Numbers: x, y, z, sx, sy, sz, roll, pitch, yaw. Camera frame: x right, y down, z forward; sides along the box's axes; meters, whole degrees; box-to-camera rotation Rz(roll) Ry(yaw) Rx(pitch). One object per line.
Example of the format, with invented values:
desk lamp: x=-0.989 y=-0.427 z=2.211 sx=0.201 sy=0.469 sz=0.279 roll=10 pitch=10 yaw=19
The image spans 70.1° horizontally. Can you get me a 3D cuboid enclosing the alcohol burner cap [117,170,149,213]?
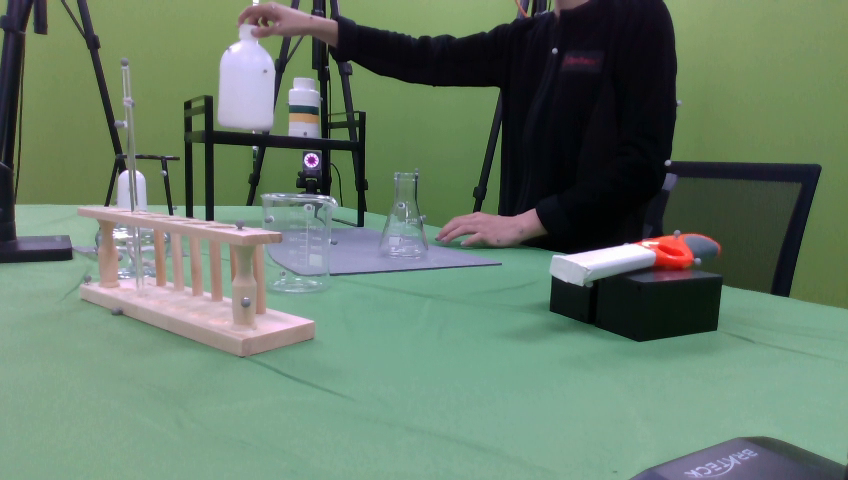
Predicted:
alcohol burner cap: x=-0.320 y=-0.052 z=0.661 sx=0.034 sy=0.048 sz=0.034 roll=-3 pitch=0 yaw=0

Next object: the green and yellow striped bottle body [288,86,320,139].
green and yellow striped bottle body: x=-0.250 y=-0.272 z=1.261 sx=0.063 sy=0.119 sz=0.063 roll=3 pitch=7 yaw=0

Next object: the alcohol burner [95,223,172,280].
alcohol burner: x=-0.320 y=-0.017 z=0.667 sx=0.078 sy=0.119 sz=0.078 roll=0 pitch=7 yaw=0

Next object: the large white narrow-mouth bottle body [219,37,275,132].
large white narrow-mouth bottle body: x=-0.338 y=-0.309 z=1.163 sx=0.102 sy=0.194 sz=0.101 roll=4 pitch=10 yaw=0

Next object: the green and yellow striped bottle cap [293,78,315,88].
green and yellow striped bottle cap: x=-0.248 y=-0.324 z=1.256 sx=0.045 sy=0.020 sz=0.045 roll=4 pitch=8 yaw=0

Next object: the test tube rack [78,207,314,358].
test tube rack: x=-0.197 y=0.023 z=0.500 sx=0.241 sy=0.085 sz=0.067 roll=8 pitch=9 yaw=37

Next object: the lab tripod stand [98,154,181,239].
lab tripod stand: x=-0.427 y=-0.066 z=0.942 sx=0.148 sy=0.131 sz=0.148 roll=1 pitch=6 yaw=0

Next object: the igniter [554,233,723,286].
igniter: x=0.214 y=0.015 z=0.570 sx=0.278 sy=0.025 sz=0.057 roll=-5 pitch=22 yaw=-44

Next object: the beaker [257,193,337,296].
beaker: x=-0.130 y=0.003 z=0.628 sx=0.084 sy=0.100 sz=0.074 roll=5 pitch=8 yaw=15

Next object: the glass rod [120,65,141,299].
glass rod: x=-0.248 y=-0.047 z=0.513 sx=0.008 sy=0.199 sz=0.008 roll=-1 pitch=4 yaw=0

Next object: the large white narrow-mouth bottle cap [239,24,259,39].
large white narrow-mouth bottle cap: x=-0.332 y=-0.393 z=1.147 sx=0.038 sy=0.024 sz=0.037 roll=5 pitch=10 yaw=0

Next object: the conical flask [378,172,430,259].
conical flask: x=-0.027 y=-0.037 z=0.869 sx=0.075 sy=0.122 sz=0.075 roll=2 pitch=7 yaw=0

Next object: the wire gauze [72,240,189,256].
wire gauze: x=-0.399 y=0.013 z=0.820 sx=0.126 sy=0.011 sz=0.121 roll=-3 pitch=8 yaw=-37
